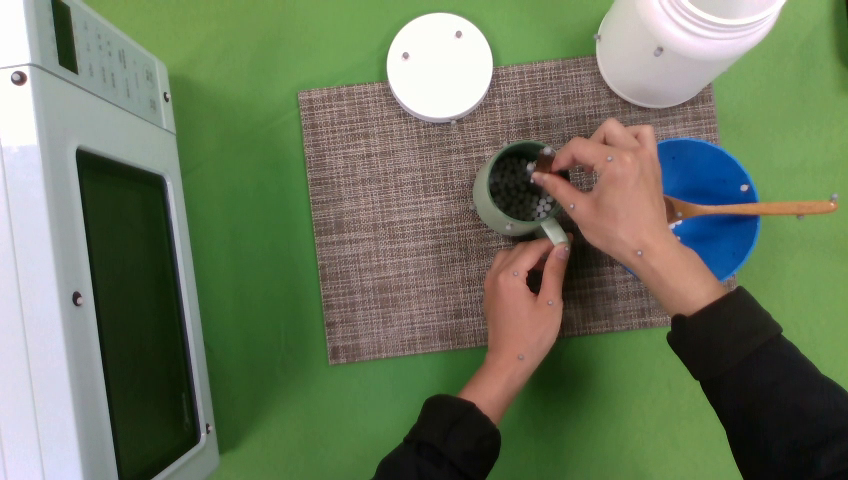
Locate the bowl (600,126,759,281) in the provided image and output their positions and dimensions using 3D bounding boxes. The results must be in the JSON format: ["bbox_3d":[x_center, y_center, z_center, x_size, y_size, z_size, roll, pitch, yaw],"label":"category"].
[{"bbox_3d":[0.247,-0.034,0.621,0.151,0.077,0.151,0,89,1],"label":"bowl"}]

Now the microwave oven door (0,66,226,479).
[{"bbox_3d":[-0.256,0.058,0.528,0.039,0.244,0.355,-9,89,1],"label":"microwave oven door"}]

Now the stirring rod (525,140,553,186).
[{"bbox_3d":[0.105,-0.069,0.566,0.014,0.176,0.006,16,87,8],"label":"stirring rod"}]

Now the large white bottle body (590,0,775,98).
[{"bbox_3d":[0.241,-0.224,0.569,0.130,0.185,0.130,0,85,1],"label":"large white bottle body"}]

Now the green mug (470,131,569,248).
[{"bbox_3d":[0.104,-0.046,0.609,0.092,0.105,0.125,-35,89,0],"label":"green mug"}]

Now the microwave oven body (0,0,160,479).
[{"bbox_3d":[-0.407,0.039,0.534,0.326,0.260,0.441,-9,90,0],"label":"microwave oven body"}]

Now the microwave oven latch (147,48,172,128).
[{"bbox_3d":[-0.286,-0.156,0.630,0.030,0.029,0.079,-9,90,0],"label":"microwave oven latch"}]

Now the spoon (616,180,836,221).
[{"bbox_3d":[0.290,-0.041,0.592,0.193,0.022,0.041,0,93,24],"label":"spoon"}]

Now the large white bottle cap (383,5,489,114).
[{"bbox_3d":[0.013,-0.195,0.653,0.115,0.018,0.114,0,89,0],"label":"large white bottle cap"}]
